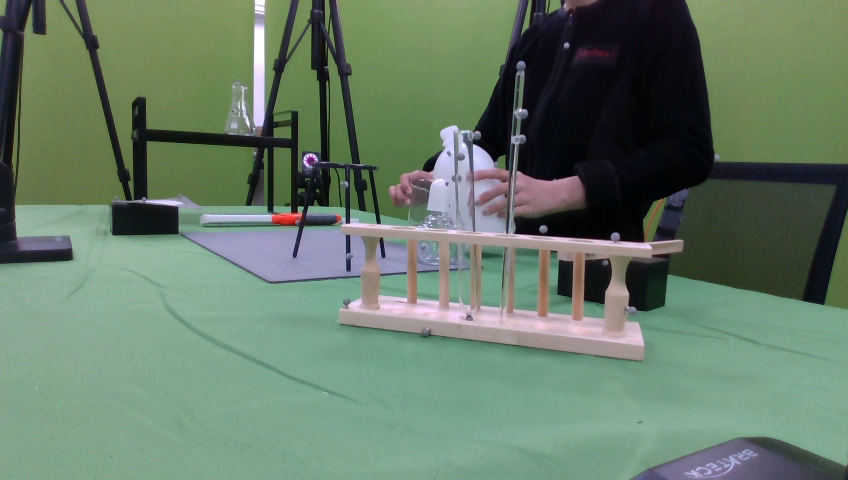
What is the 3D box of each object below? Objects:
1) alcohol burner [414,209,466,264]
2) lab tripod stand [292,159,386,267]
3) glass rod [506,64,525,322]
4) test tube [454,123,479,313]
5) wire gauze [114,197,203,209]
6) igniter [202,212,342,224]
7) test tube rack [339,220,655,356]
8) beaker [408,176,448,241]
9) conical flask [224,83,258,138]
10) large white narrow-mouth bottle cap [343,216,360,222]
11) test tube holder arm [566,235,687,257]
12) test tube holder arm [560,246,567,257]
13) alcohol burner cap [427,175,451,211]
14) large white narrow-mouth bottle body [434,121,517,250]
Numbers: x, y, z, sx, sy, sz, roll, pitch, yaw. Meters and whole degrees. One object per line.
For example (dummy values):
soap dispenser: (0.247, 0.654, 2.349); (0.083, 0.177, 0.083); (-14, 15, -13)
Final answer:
alcohol burner: (0.021, -0.028, 0.826); (0.078, 0.119, 0.078); (0, 6, 0)
lab tripod stand: (-0.104, -0.039, 0.798); (0.148, 0.131, 0.148); (2, 5, 0)
glass rod: (0.069, -0.030, 0.458); (0.008, 0.199, 0.008); (0, 15, 0)
test tube: (0.034, -0.016, 0.477); (0.017, 0.150, 0.017); (-2, 9, 1)
wire gauze: (-0.447, -0.062, 1.015); (0.126, 0.011, 0.121); (-2, 8, -31)
igniter: (-0.298, -0.044, 1.216); (0.278, 0.025, 0.057); (-2, -2, -32)
test tube rack: (0.056, 0.032, 0.495); (0.242, 0.085, 0.067); (4, 7, 15)
beaker: (0.010, -0.053, 1.052); (0.074, 0.100, 0.083); (1, 20, -11)
conical flask: (-0.422, -0.299, 1.395); (0.075, 0.122, 0.075); (2, 7, 0)
large white narrow-mouth bottle cap: (-0.148, -0.036, 1.234); (0.038, 0.024, 0.037); (2, 8, 0)
test tube holder arm: (0.215, 0.006, 0.630); (0.179, 0.015, 0.013); (-3, 9, -31)
test tube holder arm: (0.173, 0.007, 0.611); (0.088, 0.015, 0.010); (-3, 9, -30)
alcohol burner cap: (0.023, -0.064, 0.822); (0.034, 0.048, 0.034); (7, 5, 0)
large white narrow-mouth bottle body: (0.071, -0.090, 0.941); (0.102, 0.194, 0.102); (-18, -3, -1)
